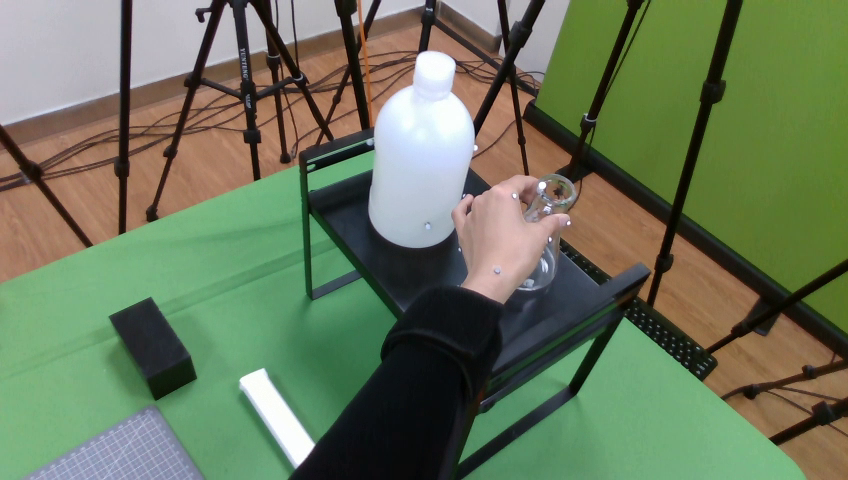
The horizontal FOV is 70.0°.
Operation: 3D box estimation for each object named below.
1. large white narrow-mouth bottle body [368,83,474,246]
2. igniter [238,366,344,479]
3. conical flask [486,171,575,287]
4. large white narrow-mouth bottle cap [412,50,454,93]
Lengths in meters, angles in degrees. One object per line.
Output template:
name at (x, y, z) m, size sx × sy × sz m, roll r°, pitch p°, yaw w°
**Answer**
large white narrow-mouth bottle body at (-0.003, -0.090, 0.603) m, size 0.102 × 0.196 × 0.101 m, roll 5°, pitch 47°, yaw -5°
igniter at (-0.117, 0.242, 0.640) m, size 0.057 × 0.025 × 0.274 m, roll -20°, pitch 54°, yaw -39°
conical flask at (0.111, -0.014, 0.598) m, size 0.075 × 0.123 × 0.074 m, roll 6°, pitch 52°, yaw -8°
large white narrow-mouth bottle cap at (0.008, -0.151, 0.539) m, size 0.038 × 0.024 × 0.037 m, roll 5°, pitch 47°, yaw -5°
